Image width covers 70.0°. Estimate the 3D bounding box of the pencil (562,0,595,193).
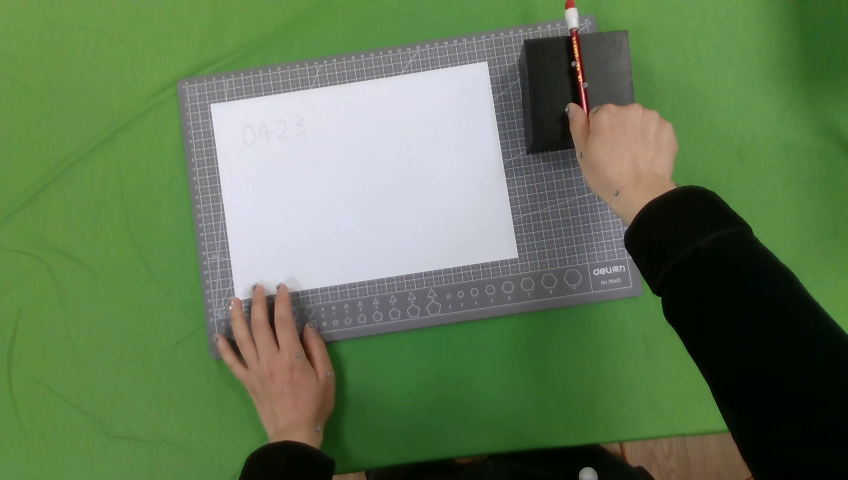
[{"bbox_3d":[0.149,-0.140,0.575,0.012,0.012,0.193,-6,84,2],"label":"pencil"}]
